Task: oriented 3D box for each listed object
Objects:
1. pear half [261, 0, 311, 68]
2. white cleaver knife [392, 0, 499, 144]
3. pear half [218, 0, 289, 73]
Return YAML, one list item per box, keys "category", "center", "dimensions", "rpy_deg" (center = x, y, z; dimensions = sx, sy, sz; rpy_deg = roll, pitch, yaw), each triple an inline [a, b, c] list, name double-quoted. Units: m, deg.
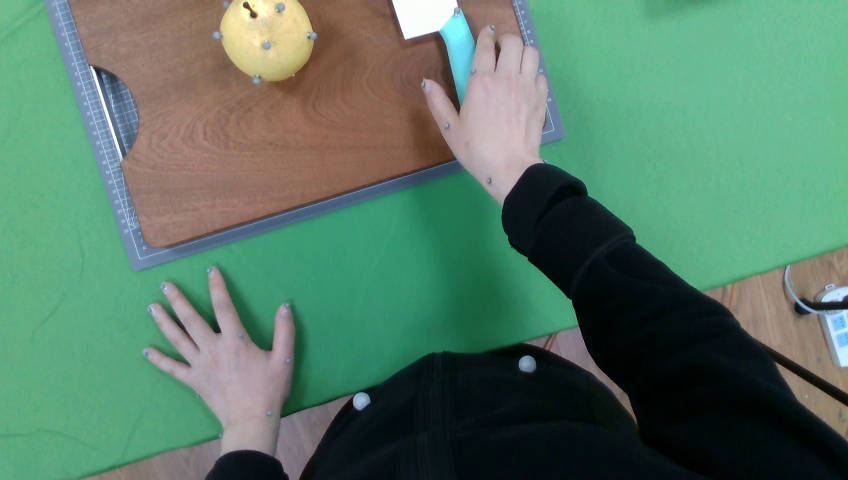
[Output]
- category: "pear half"
  center: [-0.116, -0.191, 0.527]
  dimensions: [0.031, 0.088, 0.070]
  rpy_deg: [-15, 87, -2]
- category: "white cleaver knife"
  center: [0.003, -0.226, 0.569]
  dimensions: [0.066, 0.021, 0.286]
  rpy_deg: [-18, 88, 6]
- category: "pear half"
  center: [-0.150, -0.184, 0.516]
  dimensions: [0.056, 0.110, 0.076]
  rpy_deg: [-15, 87, -1]
